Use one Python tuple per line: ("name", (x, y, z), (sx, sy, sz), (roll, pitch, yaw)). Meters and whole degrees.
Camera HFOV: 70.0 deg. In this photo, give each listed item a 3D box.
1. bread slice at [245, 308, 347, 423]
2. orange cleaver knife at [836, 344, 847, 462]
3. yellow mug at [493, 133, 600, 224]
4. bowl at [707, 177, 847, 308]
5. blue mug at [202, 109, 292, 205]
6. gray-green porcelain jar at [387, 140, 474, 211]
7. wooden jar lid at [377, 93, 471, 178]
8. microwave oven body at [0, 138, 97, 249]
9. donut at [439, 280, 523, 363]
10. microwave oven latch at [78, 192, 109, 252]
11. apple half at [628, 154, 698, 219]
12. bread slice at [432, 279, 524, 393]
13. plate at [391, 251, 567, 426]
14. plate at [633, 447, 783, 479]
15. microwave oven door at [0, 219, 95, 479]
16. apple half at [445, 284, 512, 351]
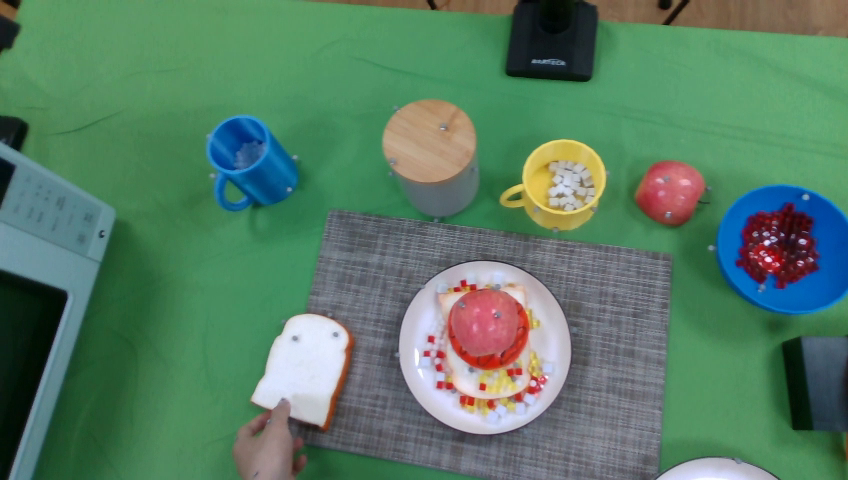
("bread slice", (-0.157, 0.150, 0.761), (0.104, 0.019, 0.131), (15, 78, 10))
("orange cleaver knife", (0.461, 0.217, 0.639), (0.012, 0.077, 0.211), (-2, 95, -1))
("yellow mug", (0.152, -0.072, 0.767), (0.131, 0.064, 0.099), (-14, 73, 3))
("bowl", (0.400, 0.011, 0.707), (0.151, 0.077, 0.150), (-2, 74, 7))
("blue mug", (-0.240, -0.098, 0.799), (0.082, 0.106, 0.116), (29, 79, 14))
("gray-green porcelain jar", (0.009, -0.100, 0.760), (0.106, 0.127, 0.105), (-2, 73, 6))
("wooden jar lid", (0.001, -0.119, 0.699), (0.108, 0.021, 0.107), (-1, 72, 4))
("microwave oven body", (-0.641, 0.095, 0.705), (0.325, 0.262, 0.439), (8, 76, 9))
("donut", (0.066, 0.095, 0.710), (0.099, 0.048, 0.098), (-2, 73, 7))
("microwave oven latch", (-0.453, -0.025, 0.818), (0.030, 0.030, 0.079), (11, 76, 9))
("apple half", (0.301, -0.073, 0.757), (0.074, 0.054, 0.080), (30, 80, 16))
("bread slice", (0.071, 0.116, 0.733), (0.107, 0.018, 0.133), (-9, 75, 5))
("plate", (0.066, 0.118, 0.733), (0.207, 0.039, 0.206), (-2, 74, 6))
("plate", (0.308, 0.329, 0.647), (0.209, 0.038, 0.208), (-2, 73, 7))
("microwave oven door", (-0.506, 0.153, 0.666), (0.039, 0.245, 0.354), (8, 75, 10))
("apple half", (0.060, 0.083, 0.676), (0.081, 0.033, 0.080), (-4, 69, 11))
